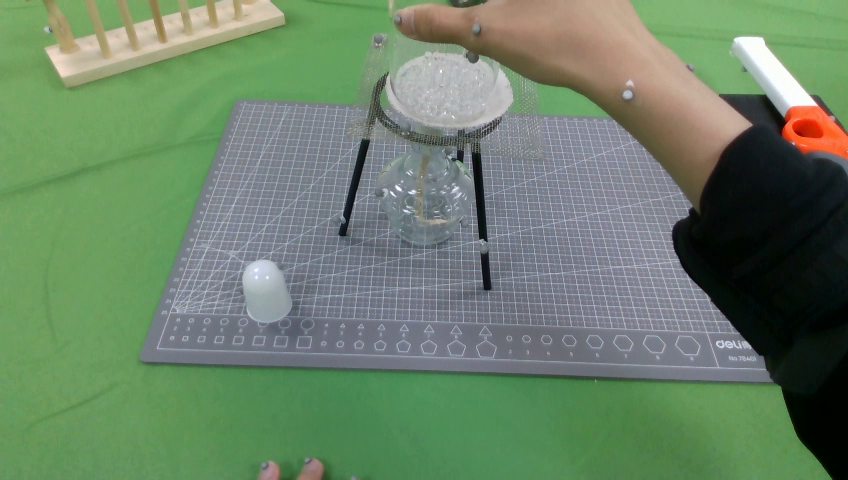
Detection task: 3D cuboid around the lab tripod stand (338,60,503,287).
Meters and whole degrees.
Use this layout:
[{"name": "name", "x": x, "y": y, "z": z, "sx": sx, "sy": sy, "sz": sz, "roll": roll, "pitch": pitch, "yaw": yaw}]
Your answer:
[{"name": "lab tripod stand", "x": 0.009, "y": -0.051, "z": 0.451, "sx": 0.148, "sy": 0.132, "sz": 0.147, "roll": 3, "pitch": 48, "yaw": -3}]

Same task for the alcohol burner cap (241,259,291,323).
[{"name": "alcohol burner cap", "x": -0.113, "y": 0.033, "z": 0.429, "sx": 0.034, "sy": 0.048, "sz": 0.033, "roll": 3, "pitch": 48, "yaw": -3}]

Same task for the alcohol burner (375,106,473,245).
[{"name": "alcohol burner", "x": 0.001, "y": -0.052, "z": 0.465, "sx": 0.078, "sy": 0.120, "sz": 0.077, "roll": 1, "pitch": 50, "yaw": -1}]

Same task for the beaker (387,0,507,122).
[{"name": "beaker", "x": 0.014, "y": -0.128, "z": 0.365, "sx": 0.074, "sy": 0.101, "sz": 0.083, "roll": -6, "pitch": 51, "yaw": -7}]

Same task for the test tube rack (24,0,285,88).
[{"name": "test tube rack", "x": -0.277, "y": -0.250, "z": 0.642, "sx": 0.242, "sy": 0.086, "sz": 0.066, "roll": -27, "pitch": 56, "yaw": -25}]

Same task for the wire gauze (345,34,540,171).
[{"name": "wire gauze", "x": 0.017, "y": -0.100, "z": 0.407, "sx": 0.125, "sy": 0.011, "sz": 0.120, "roll": 8, "pitch": 52, "yaw": -1}]

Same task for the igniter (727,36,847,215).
[{"name": "igniter", "x": 0.335, "y": -0.106, "z": 0.535, "sx": 0.057, "sy": 0.025, "sz": 0.273, "roll": -1, "pitch": 46, "yaw": -1}]
